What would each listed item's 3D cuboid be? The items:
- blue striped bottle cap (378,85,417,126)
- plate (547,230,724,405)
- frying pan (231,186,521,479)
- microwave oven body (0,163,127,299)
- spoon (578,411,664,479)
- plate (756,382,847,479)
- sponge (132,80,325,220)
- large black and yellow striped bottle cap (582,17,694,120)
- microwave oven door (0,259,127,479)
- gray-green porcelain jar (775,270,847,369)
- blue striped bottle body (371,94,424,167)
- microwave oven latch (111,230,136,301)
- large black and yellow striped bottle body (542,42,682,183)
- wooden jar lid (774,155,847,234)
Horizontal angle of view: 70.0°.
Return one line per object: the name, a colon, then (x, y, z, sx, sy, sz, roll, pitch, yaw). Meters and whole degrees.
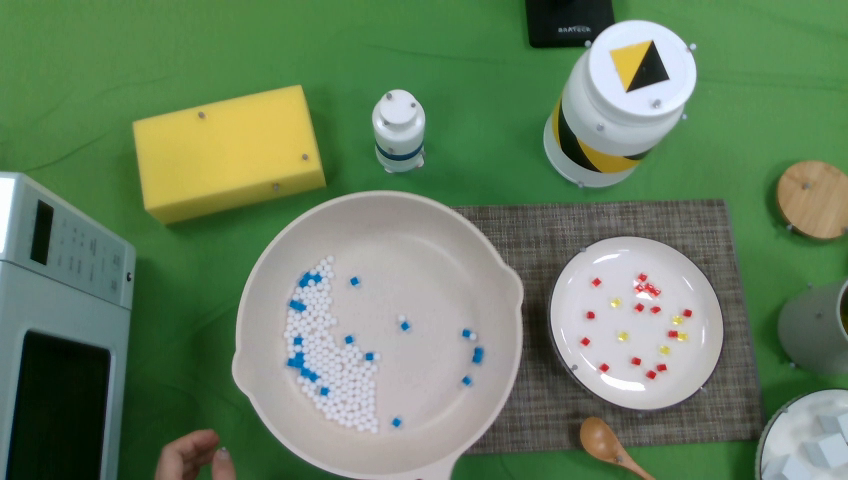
blue striped bottle cap: (-0.030, -0.153, 0.687, 0.044, 0.021, 0.044, 0, 72, 0)
plate: (0.248, 0.091, 0.727, 0.209, 0.038, 0.208, 1, 75, -2)
frying pan: (-0.020, 0.185, 0.616, 0.307, 0.103, 0.484, -16, 72, 0)
microwave oven body: (-0.493, 0.178, 0.557, 0.326, 0.261, 0.439, -1, 76, -3)
spoon: (0.253, 0.266, 0.690, 0.193, 0.022, 0.041, 38, 59, 6)
plate: (0.479, 0.268, 0.694, 0.208, 0.039, 0.206, 1, 75, -2)
sponge: (-0.238, -0.111, 0.752, 0.207, 0.061, 0.117, -15, 76, -7)
large black and yellow striped bottle cap: (0.225, -0.182, 0.638, 0.115, 0.019, 0.114, 1, 74, -1)
microwave oven door: (-0.348, 0.214, 0.548, 0.039, 0.245, 0.353, -2, 75, -4)
gray-green porcelain jar: (0.481, 0.092, 0.694, 0.106, 0.127, 0.105, 1, 75, -2)
blue striped bottle body: (-0.032, -0.140, 0.737, 0.063, 0.121, 0.062, 1, 75, -2)
microwave oven latch: (-0.354, 0.030, 0.702, 0.030, 0.029, 0.078, 0, 76, -3)
large black and yellow striped bottle body: (0.223, -0.159, 0.721, 0.131, 0.185, 0.130, 1, 74, -2)
wooden jar lid: (0.508, -0.058, 0.790, 0.108, 0.021, 0.108, 1, 77, -2)
